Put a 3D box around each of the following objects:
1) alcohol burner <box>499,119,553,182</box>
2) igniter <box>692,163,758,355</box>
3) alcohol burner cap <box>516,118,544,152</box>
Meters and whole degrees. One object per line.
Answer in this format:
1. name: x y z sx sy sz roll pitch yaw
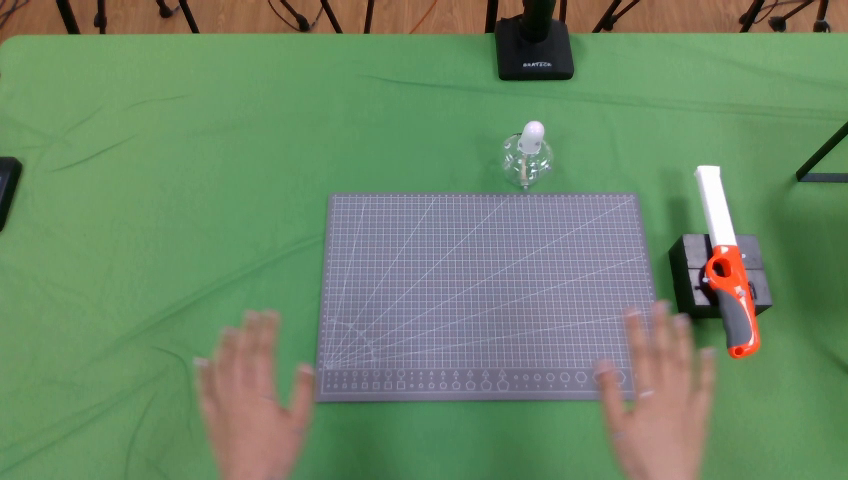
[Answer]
1. alcohol burner: 0.146 -0.133 0.851 0.078 0.120 0.077 1 65 -3
2. igniter: 0.387 0.016 0.783 0.057 0.025 0.274 3 61 0
3. alcohol burner cap: 0.146 -0.145 0.823 0.034 0.048 0.033 2 64 -3
